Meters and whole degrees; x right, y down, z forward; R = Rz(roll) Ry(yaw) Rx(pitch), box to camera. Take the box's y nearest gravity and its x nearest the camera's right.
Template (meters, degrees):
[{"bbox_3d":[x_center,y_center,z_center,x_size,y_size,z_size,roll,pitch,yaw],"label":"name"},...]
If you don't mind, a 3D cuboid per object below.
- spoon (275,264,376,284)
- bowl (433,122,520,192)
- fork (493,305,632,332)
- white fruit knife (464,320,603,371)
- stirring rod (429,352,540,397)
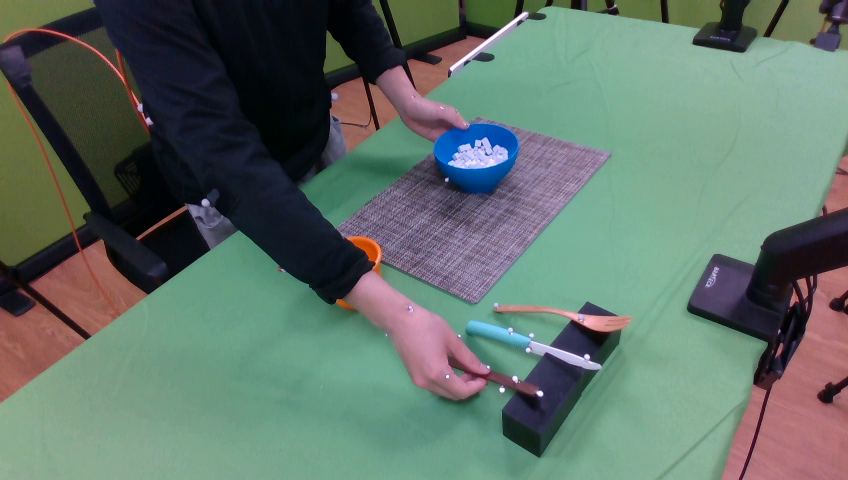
[{"bbox_3d":[-0.133,0.044,0.840,0.041,0.195,0.021,24,95,33],"label":"spoon"},{"bbox_3d":[0.094,-0.137,1.064,0.151,0.077,0.150,-4,41,4],"label":"bowl"},{"bbox_3d":[0.171,0.097,0.783,0.205,0.019,0.028,4,41,43],"label":"fork"},{"bbox_3d":[0.128,0.130,0.749,0.205,0.027,0.016,10,42,43],"label":"white fruit knife"},{"bbox_3d":[0.069,0.162,0.738,0.174,0.006,0.014,8,42,47],"label":"stirring rod"}]
